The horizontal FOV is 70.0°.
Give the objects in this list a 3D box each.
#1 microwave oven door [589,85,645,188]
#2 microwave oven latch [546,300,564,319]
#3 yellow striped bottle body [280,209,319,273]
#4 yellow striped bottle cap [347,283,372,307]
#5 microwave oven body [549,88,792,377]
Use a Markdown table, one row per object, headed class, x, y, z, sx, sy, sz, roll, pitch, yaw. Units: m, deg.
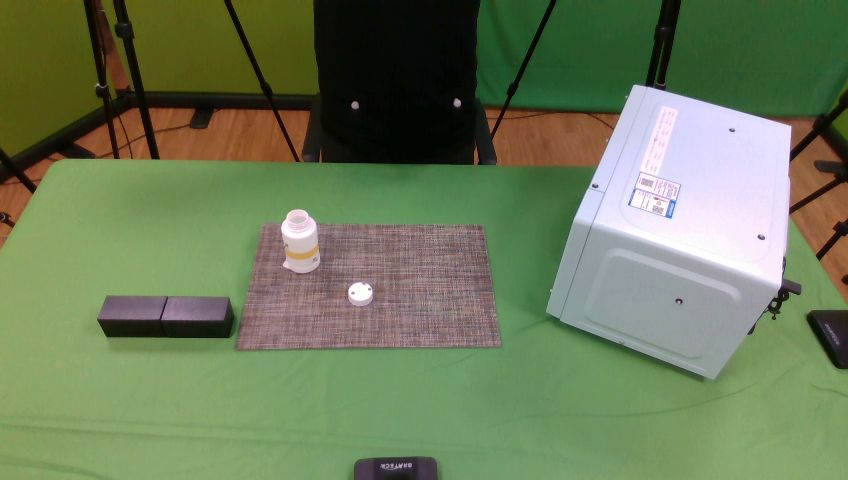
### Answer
| class | x | y | z | sx | sy | sz | roll | pitch | yaw |
| --- | --- | --- | --- | --- | --- | --- | --- | --- | --- |
| microwave oven door | 0.341 | -0.107 | 1.149 | 0.039 | 0.245 | 0.354 | 20 | 48 | 15 |
| microwave oven latch | 0.242 | 0.102 | 1.081 | 0.030 | 0.029 | 0.079 | 21 | 48 | 17 |
| yellow striped bottle body | -0.227 | 0.000 | 1.105 | 0.063 | 0.121 | 0.062 | 2 | 46 | -2 |
| yellow striped bottle cap | -0.116 | 0.098 | 1.093 | 0.044 | 0.019 | 0.044 | 3 | 44 | -2 |
| microwave oven body | 0.456 | -0.028 | 1.088 | 0.325 | 0.261 | 0.440 | 20 | 47 | 16 |
